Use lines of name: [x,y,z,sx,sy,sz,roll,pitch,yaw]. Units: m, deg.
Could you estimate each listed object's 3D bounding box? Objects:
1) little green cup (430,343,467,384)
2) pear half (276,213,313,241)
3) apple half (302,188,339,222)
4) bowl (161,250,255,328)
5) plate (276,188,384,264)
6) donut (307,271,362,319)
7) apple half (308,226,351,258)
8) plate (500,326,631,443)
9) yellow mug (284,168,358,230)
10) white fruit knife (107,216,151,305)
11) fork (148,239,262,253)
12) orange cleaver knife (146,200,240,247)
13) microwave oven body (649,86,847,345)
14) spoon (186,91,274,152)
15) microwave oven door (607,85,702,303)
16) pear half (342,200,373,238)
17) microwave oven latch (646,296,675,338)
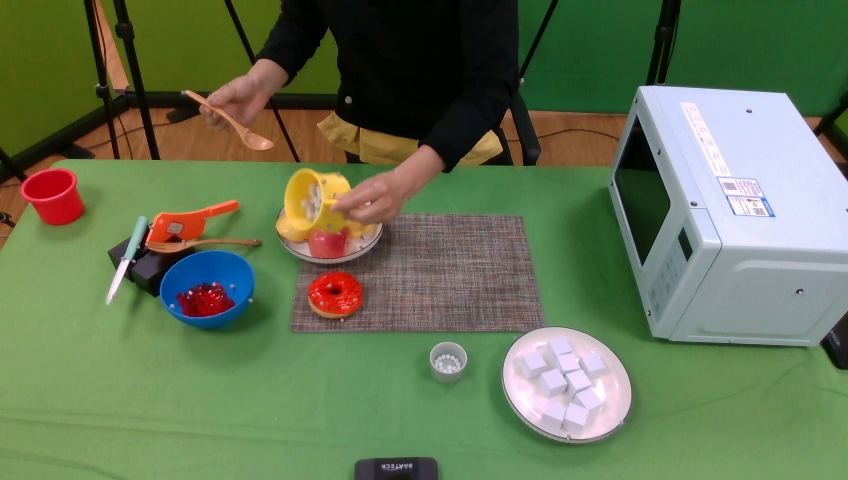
little green cup: [0.039,0.203,0.994,0.061,0.039,0.061,2,46,-2]
pear half: [-0.244,-0.035,1.178,0.070,0.031,0.088,40,42,1]
apple half: [-0.205,-0.076,1.216,0.081,0.033,0.081,17,46,-19]
bowl: [-0.362,0.097,1.040,0.151,0.077,0.150,2,45,-2]
plate: [-0.184,-0.027,1.195,0.209,0.038,0.208,2,46,-2]
donut: [-0.157,0.097,1.072,0.099,0.048,0.098,4,45,-4]
apple half: [-0.180,-0.005,1.150,0.074,0.053,0.080,14,43,8]
plate: [0.224,0.234,0.978,0.208,0.039,0.206,2,46,-2]
yellow mug: [-0.164,-0.066,0.994,0.130,0.100,0.064,6,4,39]
white fruit knife: [-0.518,0.032,1.066,0.027,0.016,0.206,-19,45,19]
fork: [-0.398,0.008,1.117,0.208,0.019,0.028,-5,33,-37]
orange cleaver knife: [-0.435,-0.033,1.157,0.012,0.077,0.211,31,26,18]
microwave oven body: [0.568,-0.053,1.118,0.326,0.261,0.439,2,45,-1]
spoon: [-0.342,-0.209,1.059,0.193,0.022,0.041,38,45,8]
microwave oven door: [0.423,-0.094,1.140,0.039,0.245,0.353,2,46,-1]
pear half: [-0.147,-0.060,1.210,0.076,0.056,0.109,-16,45,-25]
microwave oven latch: [0.412,0.134,1.061,0.030,0.029,0.078,4,45,1]
